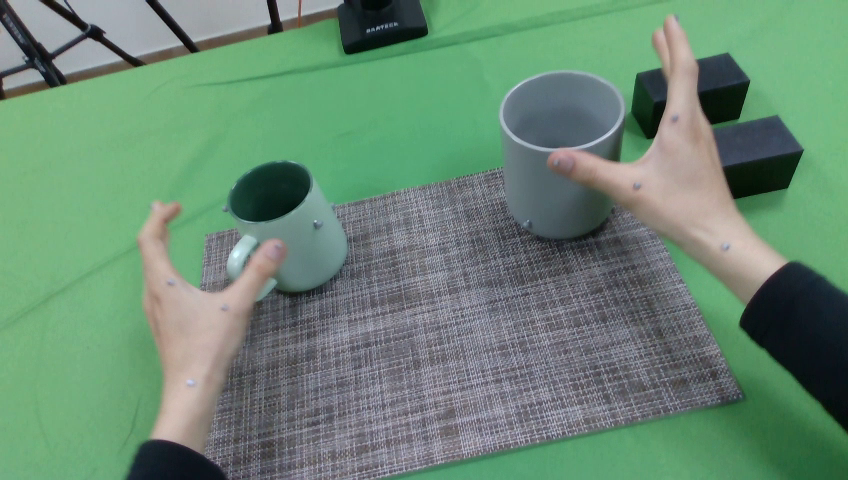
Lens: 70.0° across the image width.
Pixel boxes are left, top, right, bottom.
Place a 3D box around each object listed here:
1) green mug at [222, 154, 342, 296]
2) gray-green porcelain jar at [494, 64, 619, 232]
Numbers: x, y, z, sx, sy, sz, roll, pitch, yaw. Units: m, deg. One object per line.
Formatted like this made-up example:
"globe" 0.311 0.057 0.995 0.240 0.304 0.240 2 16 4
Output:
"green mug" -0.140 -0.004 0.567 0.092 0.106 0.124 16 56 22
"gray-green porcelain jar" 0.121 -0.078 0.559 0.106 0.128 0.105 -6 51 8
